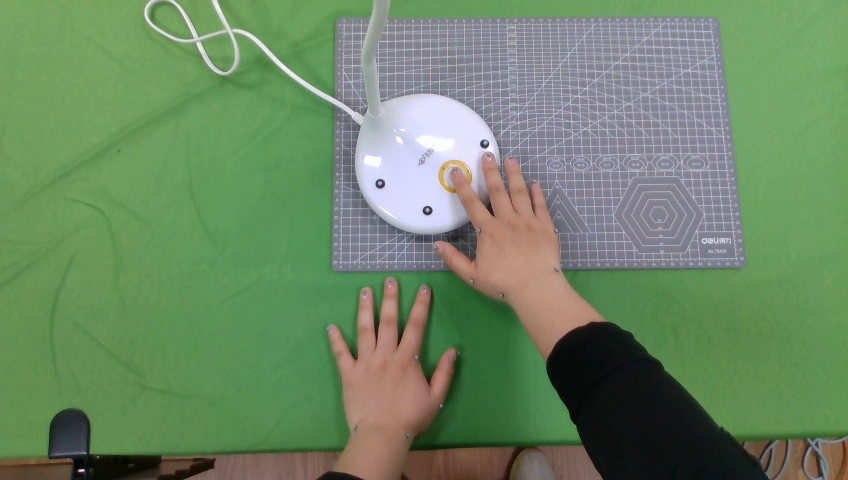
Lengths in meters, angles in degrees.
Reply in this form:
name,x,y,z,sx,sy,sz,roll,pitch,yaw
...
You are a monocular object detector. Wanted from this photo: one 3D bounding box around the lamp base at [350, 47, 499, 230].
name,x,y,z,sx,sy,sz,roll,pitch,yaw
lamp base,-0.010,-0.110,0.590,0.179,0.181,0.160,26,80,8
